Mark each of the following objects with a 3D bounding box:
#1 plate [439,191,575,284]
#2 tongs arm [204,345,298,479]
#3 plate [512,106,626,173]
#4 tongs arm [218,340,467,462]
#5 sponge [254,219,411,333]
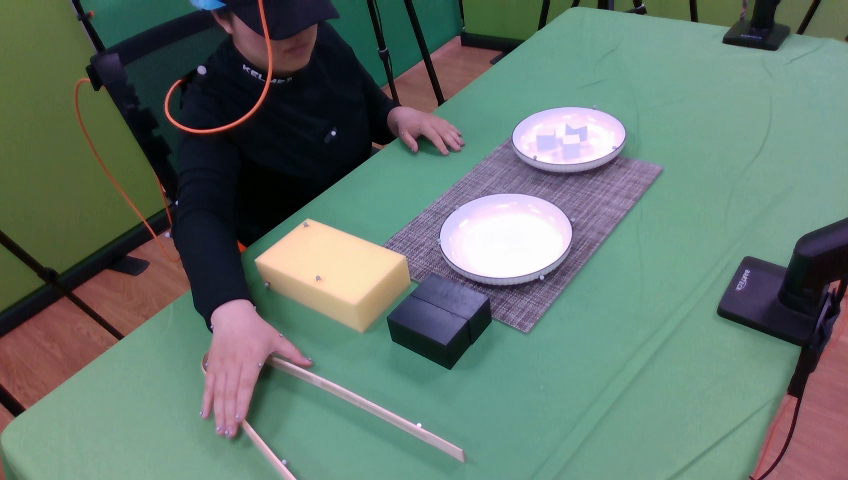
[{"bbox_3d":[0.129,-0.001,0.942,0.207,0.039,0.206,-5,40,5],"label":"plate"},{"bbox_3d":[-0.170,0.238,0.721,0.381,0.026,0.051,28,52,37],"label":"tongs arm"},{"bbox_3d":[0.269,-0.185,1.132,0.209,0.038,0.208,-5,40,5],"label":"plate"},{"bbox_3d":[-0.117,0.196,0.767,0.385,0.028,0.028,16,49,28],"label":"tongs arm"},{"bbox_3d":[-0.139,0.048,0.922,0.205,0.061,0.118,19,47,30],"label":"sponge"}]
